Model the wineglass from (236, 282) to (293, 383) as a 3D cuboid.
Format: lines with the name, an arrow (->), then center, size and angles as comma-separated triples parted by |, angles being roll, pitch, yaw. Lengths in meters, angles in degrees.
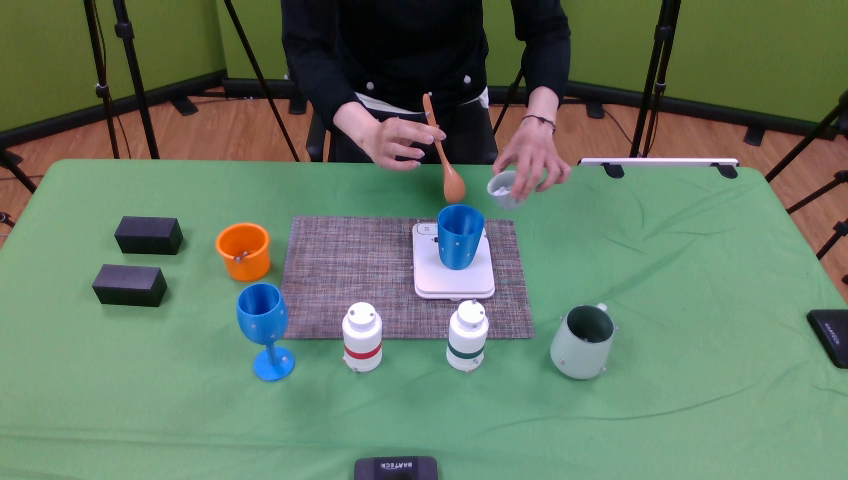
wineglass -> -0.243, 0.143, 0.934 | 0.074, 0.173, 0.073 | 2, 46, -2

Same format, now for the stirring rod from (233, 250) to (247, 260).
stirring rod -> -0.323, 0.026, 1.067 | 0.014, 0.006, 0.176 | -8, 4, -13

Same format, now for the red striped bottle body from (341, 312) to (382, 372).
red striped bottle body -> -0.100, 0.154, 0.972 | 0.063, 0.120, 0.062 | 1, 46, -1

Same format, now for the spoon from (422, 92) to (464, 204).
spoon -> 0.027, -0.148, 1.000 | 0.041, 0.194, 0.021 | -26, 21, -16

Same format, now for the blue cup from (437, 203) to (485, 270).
blue cup -> 0.062, -0.001, 1.099 | 0.093, 0.101, 0.092 | 2, 44, -2

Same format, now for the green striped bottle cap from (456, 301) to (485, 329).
green striped bottle cap -> 0.073, 0.116, 0.943 | 0.044, 0.020, 0.044 | 4, 46, -3

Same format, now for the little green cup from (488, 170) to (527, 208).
little green cup -> 0.143, -0.084, 1.021 | 0.061, 0.039, 0.061 | -19, 42, 18

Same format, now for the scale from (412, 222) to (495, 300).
scale -> 0.052, 0.031, 1.158 | 0.149, 0.032, 0.199 | 1, 46, -4

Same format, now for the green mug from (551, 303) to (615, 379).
green mug -> 0.271, 0.158, 1.007 | 0.092, 0.105, 0.125 | 27, 50, 21

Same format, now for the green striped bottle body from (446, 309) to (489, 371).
green striped bottle body -> 0.070, 0.155, 0.984 | 0.063, 0.120, 0.063 | 2, 46, -2

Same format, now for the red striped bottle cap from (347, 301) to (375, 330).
red striped bottle cap -> -0.097, 0.116, 0.934 | 0.044, 0.018, 0.044 | 2, 49, -2
